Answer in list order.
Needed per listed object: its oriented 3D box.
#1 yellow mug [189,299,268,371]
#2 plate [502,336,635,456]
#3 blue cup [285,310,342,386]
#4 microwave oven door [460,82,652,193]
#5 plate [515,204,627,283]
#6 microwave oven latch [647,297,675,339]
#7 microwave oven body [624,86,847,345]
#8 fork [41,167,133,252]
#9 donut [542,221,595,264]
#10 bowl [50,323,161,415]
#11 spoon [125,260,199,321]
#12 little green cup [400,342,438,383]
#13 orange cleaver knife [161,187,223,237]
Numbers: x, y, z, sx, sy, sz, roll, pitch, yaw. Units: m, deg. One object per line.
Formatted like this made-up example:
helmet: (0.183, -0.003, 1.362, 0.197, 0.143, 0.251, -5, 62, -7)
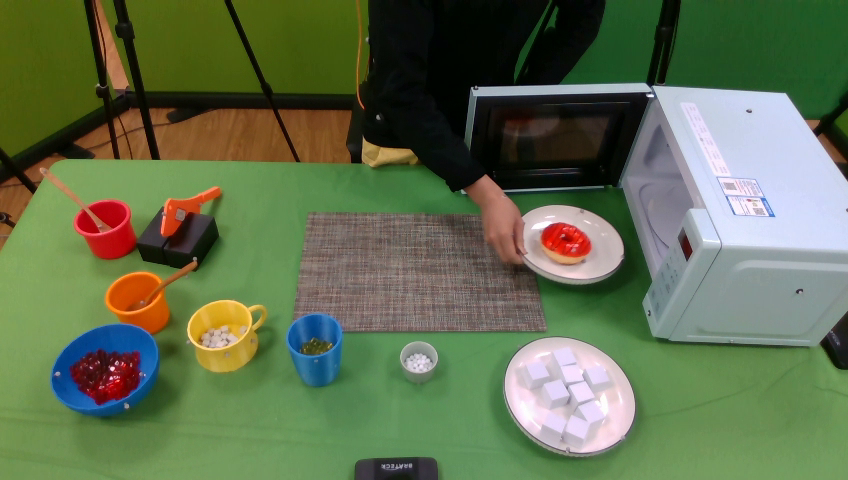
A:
yellow mug: (-0.316, 0.148, 1.002, 0.131, 0.064, 0.099, -33, 56, -31)
plate: (0.225, 0.248, 0.963, 0.208, 0.039, 0.206, 2, 46, -2)
blue cup: (-0.170, 0.179, 0.958, 0.093, 0.101, 0.092, 2, 44, -1)
microwave oven door: (0.260, -0.206, 1.237, 0.356, 0.245, 0.039, -3, 46, -7)
plate: (0.275, 0.010, 1.151, 0.209, 0.038, 0.208, 2, 43, -2)
microwave oven latch: (0.413, 0.134, 1.060, 0.030, 0.029, 0.078, 5, 45, 2)
microwave oven body: (0.567, -0.053, 1.118, 0.326, 0.261, 0.439, 2, 45, -1)
fork: (-0.624, -0.056, 1.121, 0.208, 0.018, 0.028, 49, 52, -15)
donut: (0.271, 0.004, 1.141, 0.099, 0.048, 0.098, 3, 42, -3)
bowl: (-0.472, 0.209, 0.924, 0.151, 0.077, 0.150, 2, 45, -2)
spoon: (-0.434, 0.083, 1.000, 0.022, 0.194, 0.041, 35, 34, -34)
little green cup: (-0.010, 0.202, 0.991, 0.061, 0.039, 0.061, 2, 47, -2)
orange cleaver knife: (-0.448, -0.058, 1.181, 0.012, 0.077, 0.211, 13, 17, 6)
